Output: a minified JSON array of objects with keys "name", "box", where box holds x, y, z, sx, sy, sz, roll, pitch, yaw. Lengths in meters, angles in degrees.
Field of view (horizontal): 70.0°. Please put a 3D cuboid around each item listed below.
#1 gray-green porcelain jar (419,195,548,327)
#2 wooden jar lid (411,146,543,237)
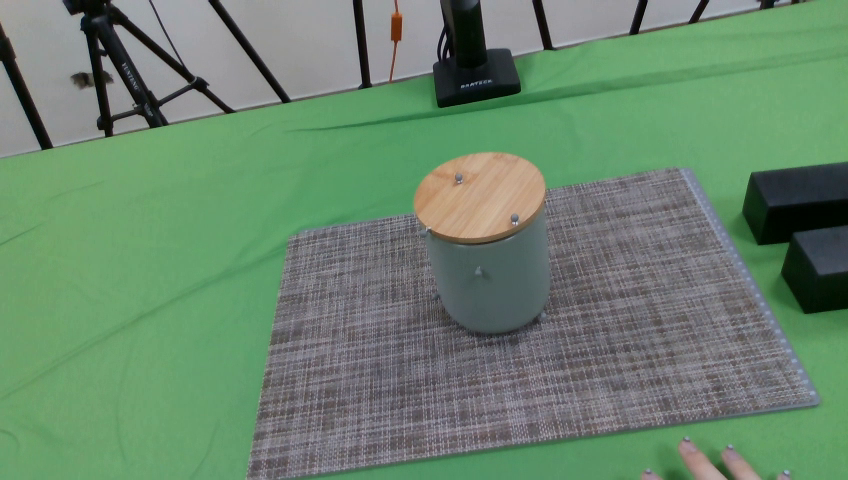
[{"name":"gray-green porcelain jar","box":[0.056,0.007,0.541,0.106,0.128,0.105,-8,44,8]},{"name":"wooden jar lid","box":[0.043,-0.038,0.496,0.108,0.021,0.107,-7,45,8]}]
